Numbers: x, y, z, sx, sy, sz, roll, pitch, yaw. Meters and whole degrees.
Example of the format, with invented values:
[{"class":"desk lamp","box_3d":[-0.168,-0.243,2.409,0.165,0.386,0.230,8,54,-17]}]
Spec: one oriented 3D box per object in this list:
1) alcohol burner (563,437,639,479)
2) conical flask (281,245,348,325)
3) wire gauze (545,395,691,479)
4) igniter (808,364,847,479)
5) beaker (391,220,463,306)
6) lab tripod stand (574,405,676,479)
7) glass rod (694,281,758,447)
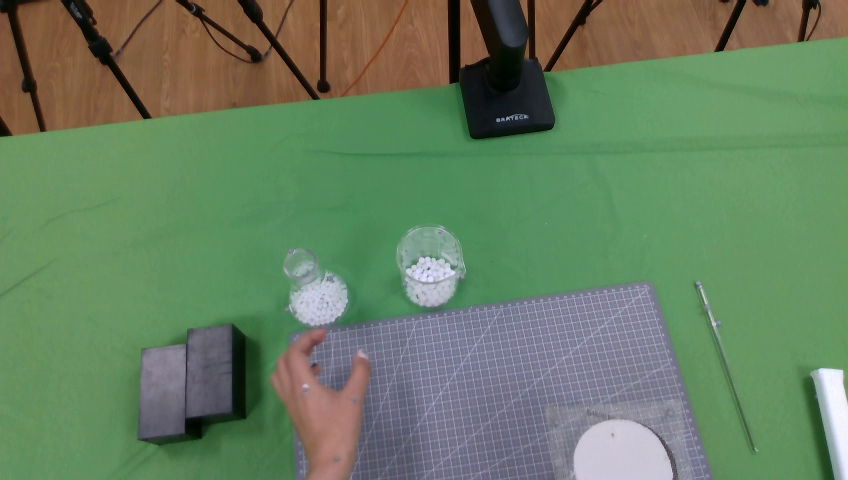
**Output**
[{"class":"alcohol burner","box_3d":[0.181,0.236,0.610,0.078,0.120,0.077,-1,66,3]},{"class":"conical flask","box_3d":[-0.132,0.047,0.696,0.075,0.123,0.075,0,66,1]},{"class":"wire gauze","box_3d":[0.176,0.203,0.540,0.125,0.011,0.120,-3,68,1]},{"class":"igniter","box_3d":[0.452,0.270,0.642,0.057,0.025,0.274,7,66,-8]},{"class":"beaker","box_3d":[0.006,0.033,0.713,0.083,0.101,0.073,25,69,11]},{"class":"lab tripod stand","box_3d":[0.180,0.231,0.601,0.148,0.132,0.147,0,68,1]},{"class":"glass rod","box_3d":[0.352,0.140,0.710,0.008,0.008,0.198,-8,66,-3]}]
